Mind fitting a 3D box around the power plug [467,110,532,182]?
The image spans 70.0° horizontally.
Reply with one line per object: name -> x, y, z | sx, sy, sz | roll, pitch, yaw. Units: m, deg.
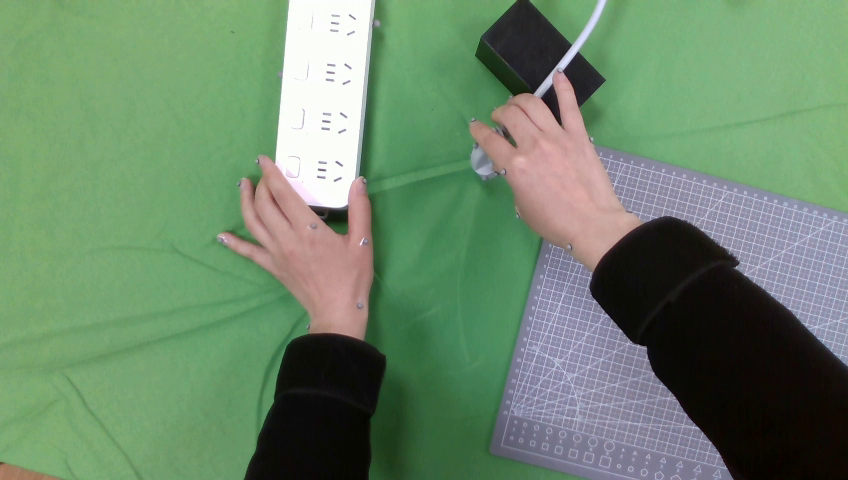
power plug -> 0.071, -0.075, 0.527 | 0.072, 0.053, 0.035 | -21, 64, 23

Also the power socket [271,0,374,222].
power socket -> -0.089, -0.130, 0.534 | 0.072, 0.032, 0.226 | 6, 90, -3
